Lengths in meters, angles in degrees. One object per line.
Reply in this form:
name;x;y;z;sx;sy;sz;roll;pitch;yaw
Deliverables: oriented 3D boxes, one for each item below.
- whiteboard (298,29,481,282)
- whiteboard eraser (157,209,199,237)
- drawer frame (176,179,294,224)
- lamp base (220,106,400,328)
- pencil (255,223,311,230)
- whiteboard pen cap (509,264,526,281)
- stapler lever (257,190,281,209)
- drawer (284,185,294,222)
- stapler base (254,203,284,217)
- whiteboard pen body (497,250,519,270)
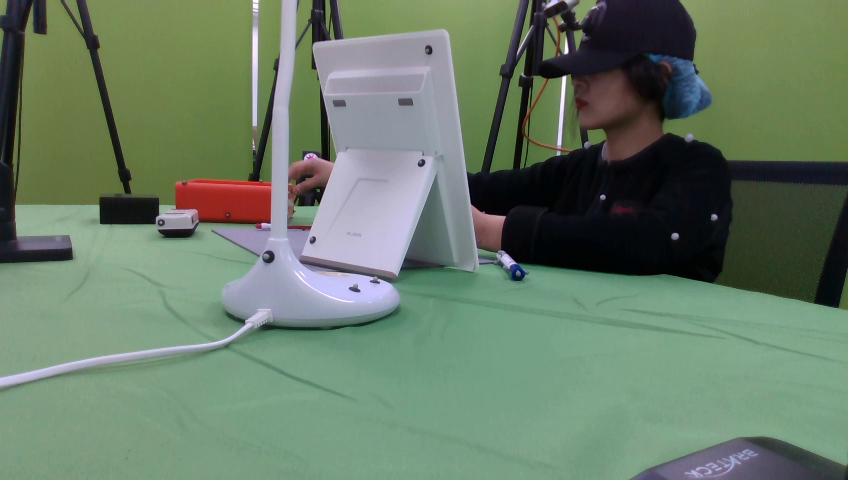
whiteboard;-0.075;-0.082;0.741;0.216;0.305;0.144;9;29;37
whiteboard eraser;-0.411;-0.029;1.016;0.056;0.042;0.112;2;7;-16
drawer frame;-0.395;-0.086;1.299;0.214;0.082;0.201;1;8;-9
lamp base;-0.101;-0.023;0.531;0.160;0.180;0.179;4;10;10
pencil;-0.216;-0.023;1.134;0.195;0.012;0.012;1;7;-21
whiteboard pen cap;0.116;0.040;0.752;0.018;0.018;0.033;2;10;-1
stapler lever;-0.333;-0.090;1.306;0.027;0.040;0.118;5;9;-2
drawer;-0.390;-0.084;1.301;0.212;0.073;0.194;1;8;-8
stapler base;-0.334;-0.068;1.308;0.041;0.024;0.130;5;6;-2
whiteboard pen body;0.116;0.032;0.810;0.017;0.017;0.140;2;8;-2
